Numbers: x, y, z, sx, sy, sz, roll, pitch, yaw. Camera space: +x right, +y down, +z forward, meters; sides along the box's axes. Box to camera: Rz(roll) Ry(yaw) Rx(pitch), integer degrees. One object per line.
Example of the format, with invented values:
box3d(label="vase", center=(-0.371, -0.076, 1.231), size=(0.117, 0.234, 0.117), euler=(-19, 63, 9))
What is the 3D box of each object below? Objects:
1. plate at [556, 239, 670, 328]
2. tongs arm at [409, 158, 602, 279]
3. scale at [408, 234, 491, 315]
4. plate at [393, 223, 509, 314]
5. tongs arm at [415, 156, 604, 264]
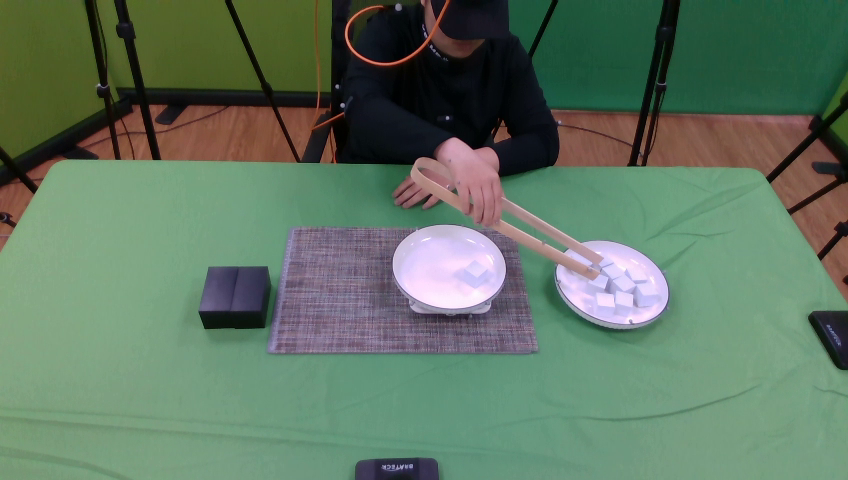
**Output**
box3d(label="plate", center=(0.347, 0.083, 1.130), size=(0.209, 0.038, 0.208), euler=(2, 47, -2))
box3d(label="tongs arm", center=(0.145, -0.036, 1.082), size=(0.385, 0.026, 0.050), euler=(27, 46, -4))
box3d(label="scale", center=(0.045, 0.055, 1.135), size=(0.149, 0.032, 0.199), euler=(1, 46, -3))
box3d(label="plate", center=(0.048, 0.053, 1.091), size=(0.208, 0.039, 0.206), euler=(1, 46, -1))
box3d(label="tongs arm", center=(0.154, -0.054, 1.102), size=(0.388, 0.028, 0.028), euler=(29, 50, -2))
